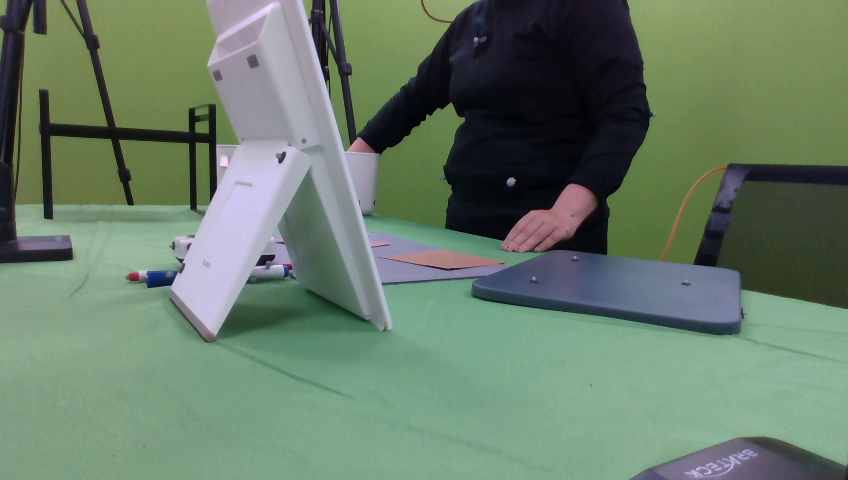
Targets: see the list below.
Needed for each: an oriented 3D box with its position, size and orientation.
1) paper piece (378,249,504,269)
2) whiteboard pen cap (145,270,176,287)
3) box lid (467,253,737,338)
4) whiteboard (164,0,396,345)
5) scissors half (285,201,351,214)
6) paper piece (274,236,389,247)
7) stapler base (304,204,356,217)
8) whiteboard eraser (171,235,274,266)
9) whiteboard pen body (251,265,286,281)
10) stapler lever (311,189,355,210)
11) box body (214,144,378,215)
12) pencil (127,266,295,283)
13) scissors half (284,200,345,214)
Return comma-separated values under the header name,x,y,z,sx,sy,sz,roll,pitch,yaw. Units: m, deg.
name,x,y,z,sx,sy,sz,roll,pitch,yaw
paper piece,0.026,0.026,0.865,0.134,0.004,0.136,9,9,43
whiteboard pen cap,-0.271,0.039,0.627,0.033,0.018,0.018,-3,10,-33
box lid,0.234,0.055,0.736,0.262,0.015,0.373,7,8,26
whiteboard,-0.172,-0.053,0.511,0.144,0.305,0.216,-23,19,-26
scissors half,-0.269,-0.080,1.536,0.176,0.013,0.040,-11,15,-22
paper piece,-0.151,0.003,0.978,0.135,0.008,0.139,13,10,35
stapler base,-0.232,-0.078,1.509,0.131,0.024,0.041,7,16,-36
whiteboard eraser,-0.248,0.014,0.747,0.113,0.042,0.055,-1,9,-32
whiteboard pen body,-0.220,0.039,0.656,0.141,0.017,0.017,-2,9,-30
stapler lever,-0.225,-0.101,1.505,0.119,0.040,0.026,6,16,-35
box body,-0.328,-0.154,1.543,0.366,0.160,0.253,-2,9,-32
pencil,-0.231,0.037,0.690,0.195,0.012,0.012,-2,9,-34
scissors half,-0.280,-0.083,1.553,0.176,0.013,0.040,-15,11,-39
